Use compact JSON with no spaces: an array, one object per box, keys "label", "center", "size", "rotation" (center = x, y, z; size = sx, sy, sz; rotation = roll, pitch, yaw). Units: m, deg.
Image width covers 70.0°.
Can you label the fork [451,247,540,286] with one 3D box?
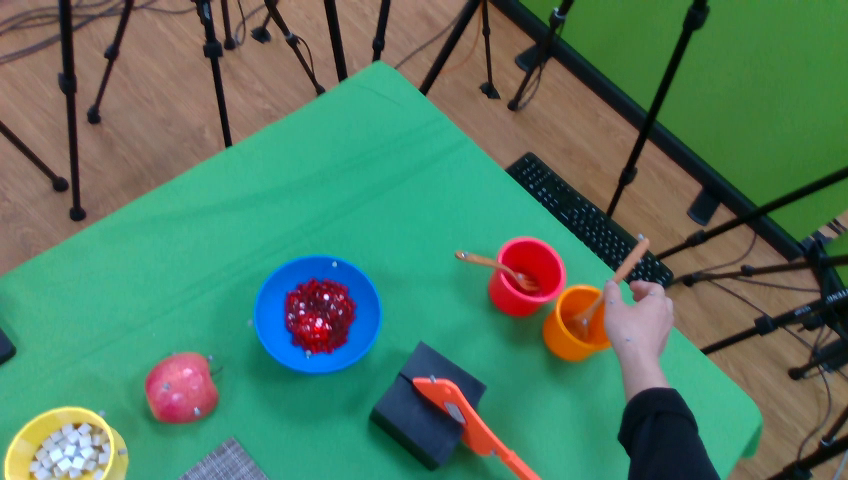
[{"label":"fork","center":[0.099,0.035,0.800],"size":[0.209,0.018,0.028],"rotation":[22,45,-51]}]

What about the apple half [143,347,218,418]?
[{"label":"apple half","center":[-0.282,0.161,0.695],"size":[0.075,0.053,0.080],"rotation":[-16,67,-18]}]

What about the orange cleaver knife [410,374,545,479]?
[{"label":"orange cleaver knife","center":[0.066,0.231,0.723],"size":[0.212,0.077,0.012],"rotation":[47,52,-11]}]

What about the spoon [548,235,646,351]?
[{"label":"spoon","center":[0.235,0.072,0.813],"size":[0.041,0.022,0.194],"rotation":[39,105,10]}]

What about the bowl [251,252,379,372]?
[{"label":"bowl","center":[-0.135,0.098,0.750],"size":[0.152,0.077,0.150],"rotation":[6,61,-11]}]

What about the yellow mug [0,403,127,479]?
[{"label":"yellow mug","center":[-0.376,0.238,0.621],"size":[0.100,0.064,0.130],"rotation":[25,59,1]}]
